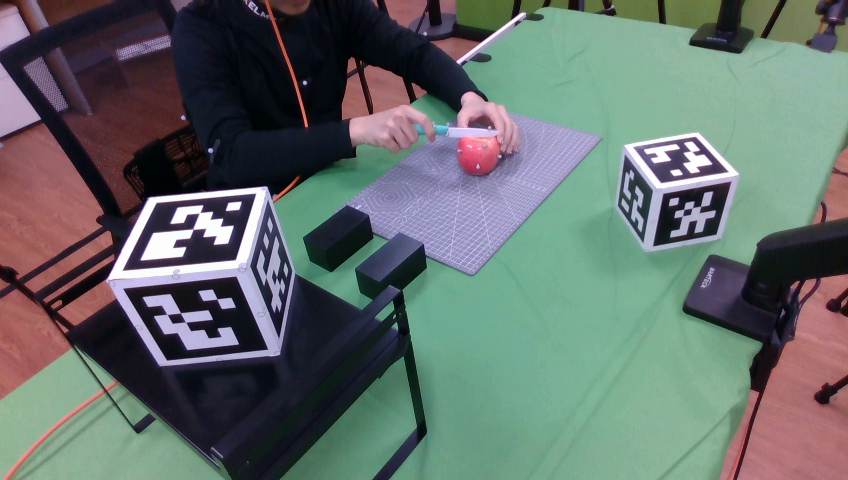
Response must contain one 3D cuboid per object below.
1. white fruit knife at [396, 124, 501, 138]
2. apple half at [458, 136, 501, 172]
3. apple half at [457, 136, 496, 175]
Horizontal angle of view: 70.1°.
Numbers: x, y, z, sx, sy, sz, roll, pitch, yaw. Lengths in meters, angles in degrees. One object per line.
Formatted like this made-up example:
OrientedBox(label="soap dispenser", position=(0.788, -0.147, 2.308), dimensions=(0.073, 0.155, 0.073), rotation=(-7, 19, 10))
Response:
OrientedBox(label="white fruit knife", position=(0.040, -0.195, 1.084), dimensions=(0.206, 0.027, 0.016), rotation=(5, 51, 24))
OrientedBox(label="apple half", position=(0.106, -0.166, 1.107), dimensions=(0.080, 0.075, 0.053), rotation=(12, 39, 27))
OrientedBox(label="apple half", position=(0.088, -0.143, 1.080), dimensions=(0.081, 0.081, 0.033), rotation=(15, 44, 23))
